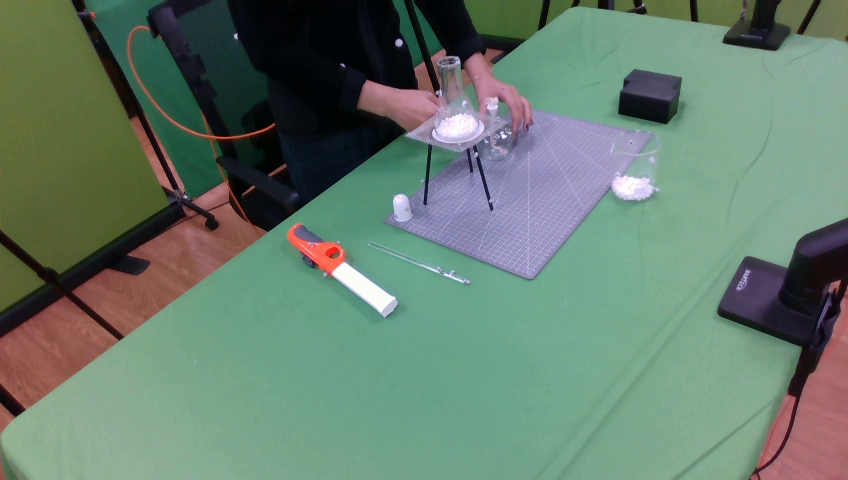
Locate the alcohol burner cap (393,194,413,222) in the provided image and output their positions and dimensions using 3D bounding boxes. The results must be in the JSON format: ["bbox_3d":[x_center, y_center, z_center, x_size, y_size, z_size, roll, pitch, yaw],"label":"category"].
[{"bbox_3d":[-0.039,-0.057,1.038,0.034,0.048,0.033,-6,40,5],"label":"alcohol burner cap"}]

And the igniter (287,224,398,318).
[{"bbox_3d":[-0.139,0.042,0.958,0.057,0.025,0.274,-42,49,-19],"label":"igniter"}]

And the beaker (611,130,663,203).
[{"bbox_3d":[0.346,-0.118,0.998,0.084,0.101,0.073,-17,40,-7],"label":"beaker"}]

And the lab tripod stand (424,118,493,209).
[{"bbox_3d":[0.061,-0.133,1.038,0.148,0.132,0.147,-6,38,6],"label":"lab tripod stand"}]

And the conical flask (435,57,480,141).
[{"bbox_3d":[0.046,-0.225,0.955,0.075,0.122,0.075,-7,39,6],"label":"conical flask"}]

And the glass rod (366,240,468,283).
[{"bbox_3d":[-0.015,0.032,0.959,0.198,0.008,0.008,21,49,30],"label":"glass rod"}]

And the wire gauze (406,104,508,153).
[{"bbox_3d":[0.054,-0.183,0.997,0.120,0.011,0.125,25,53,38],"label":"wire gauze"}]

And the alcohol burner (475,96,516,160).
[{"bbox_3d":[0.132,-0.213,1.135,0.078,0.119,0.077,-6,37,5],"label":"alcohol burner"}]
